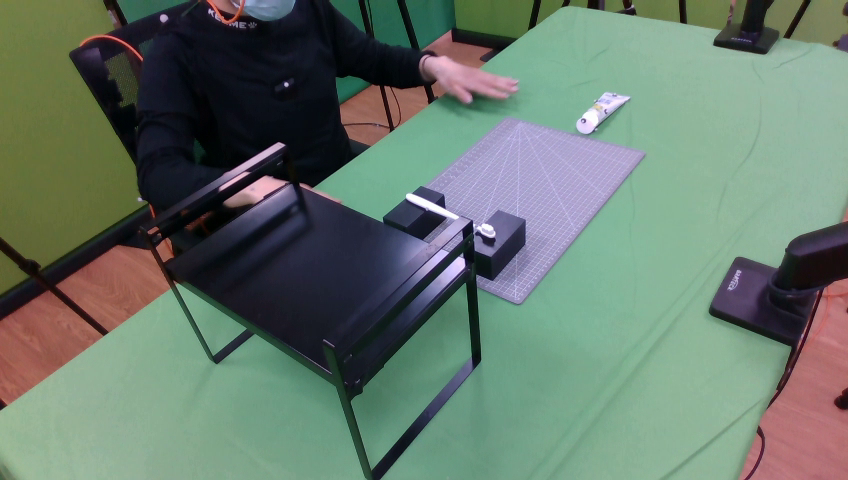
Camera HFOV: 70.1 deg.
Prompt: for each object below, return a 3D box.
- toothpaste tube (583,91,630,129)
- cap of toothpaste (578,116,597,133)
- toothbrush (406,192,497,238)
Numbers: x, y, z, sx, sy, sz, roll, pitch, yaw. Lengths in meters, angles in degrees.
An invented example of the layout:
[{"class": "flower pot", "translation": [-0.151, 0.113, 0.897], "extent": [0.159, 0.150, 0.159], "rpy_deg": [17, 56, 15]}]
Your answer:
[{"class": "toothpaste tube", "translation": [0.364, -0.266, 1.223], "extent": [0.054, 0.034, 0.165], "rpy_deg": [25, 46, 24]}, {"class": "cap of toothpaste", "translation": [0.316, -0.225, 1.172], "extent": [0.037, 0.037, 0.011], "rpy_deg": [16, 45, 24]}, {"class": "toothbrush", "translation": [0.038, -0.043, 0.937], "extent": [0.180, 0.017, 0.014], "rpy_deg": [26, 64, 35]}]
